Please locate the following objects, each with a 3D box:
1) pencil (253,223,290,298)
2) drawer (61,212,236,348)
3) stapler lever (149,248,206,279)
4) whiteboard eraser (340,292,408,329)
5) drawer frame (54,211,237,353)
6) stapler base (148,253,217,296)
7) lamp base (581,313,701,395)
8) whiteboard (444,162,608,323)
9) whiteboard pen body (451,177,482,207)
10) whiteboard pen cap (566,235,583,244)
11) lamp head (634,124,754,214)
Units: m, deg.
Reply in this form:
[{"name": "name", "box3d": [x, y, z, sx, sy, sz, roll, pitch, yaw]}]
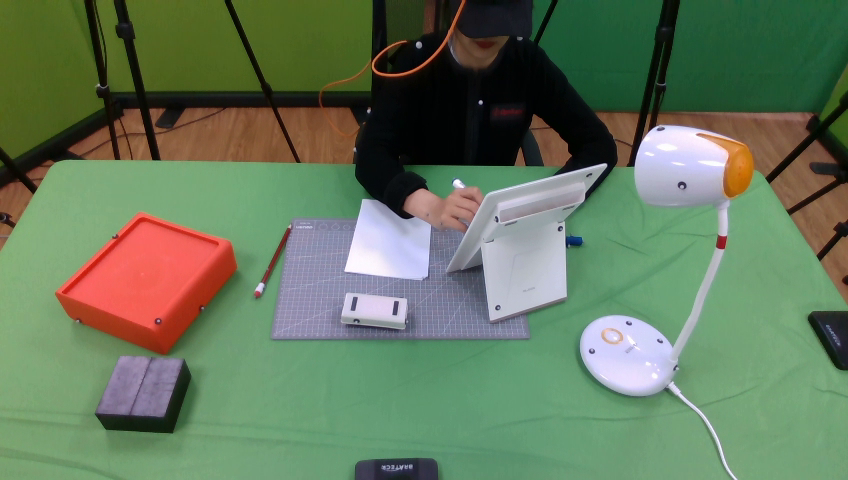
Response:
[{"name": "pencil", "box3d": [-0.286, 0.033, 1.150, 0.012, 0.012, 0.193, 9, 46, 4]}, {"name": "drawer", "box3d": [-0.473, 0.064, 1.060, 0.194, 0.073, 0.211, 18, 48, 11]}, {"name": "stapler lever", "box3d": [-0.443, 0.037, 1.084, 0.118, 0.040, 0.027, 19, 50, 17]}, {"name": "whiteboard eraser", "box3d": [-0.087, 0.125, 1.052, 0.113, 0.042, 0.055, 5, 45, 1]}, {"name": "drawer frame", "box3d": [-0.473, 0.067, 1.055, 0.201, 0.083, 0.212, 17, 48, 11]}, {"name": "stapler base", "box3d": [-0.443, 0.059, 1.109, 0.130, 0.024, 0.041, 24, 51, 11]}, {"name": "lamp base", "box3d": [0.361, 0.144, 0.972, 0.178, 0.181, 0.160, 34, 53, 23]}, {"name": "whiteboard", "box3d": [0.186, 0.026, 1.028, 0.217, 0.306, 0.143, -14, 68, -17]}, {"name": "whiteboard pen body", "box3d": [0.092, -0.070, 1.069, 0.017, 0.017, 0.140, -24, 49, -24]}, {"name": "whiteboard pen cap", "box3d": [0.303, 0.000, 1.221, 0.033, 0.018, 0.018, 3, 46, -2]}, {"name": "lamp head", "box3d": [0.351, -0.089, 0.775, 0.112, 0.113, 0.122, -30, 30, -28]}]
